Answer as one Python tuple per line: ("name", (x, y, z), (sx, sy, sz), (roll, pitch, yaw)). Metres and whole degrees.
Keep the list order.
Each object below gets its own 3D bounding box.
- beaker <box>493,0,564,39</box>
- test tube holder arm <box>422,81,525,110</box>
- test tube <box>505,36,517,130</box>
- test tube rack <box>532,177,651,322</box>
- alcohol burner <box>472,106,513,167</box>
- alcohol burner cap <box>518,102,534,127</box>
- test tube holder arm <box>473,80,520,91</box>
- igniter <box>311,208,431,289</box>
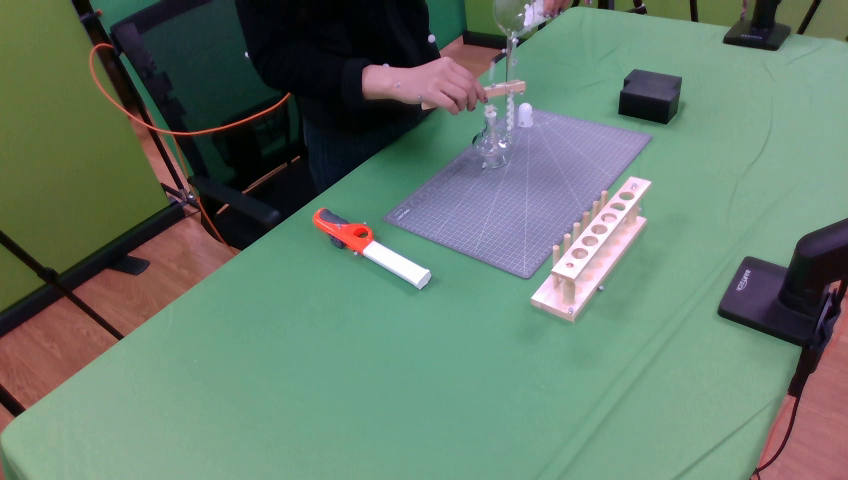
("beaker", (0.166, -0.367, 0.945), (0.073, 0.084, 0.100), (31, 48, 27))
("test tube holder arm", (0.080, -0.229, 0.952), (0.179, 0.015, 0.013), (-16, 25, -20))
("test tube", (0.140, -0.251, 0.977), (0.017, 0.150, 0.017), (-2, 27, 2))
("test tube rack", (0.247, 0.003, 0.883), (0.066, 0.085, 0.243), (22, 49, 32))
("alcohol burner", (0.125, -0.194, 1.111), (0.078, 0.119, 0.077), (-5, 42, 5))
("alcohol burner cap", (0.205, -0.255, 1.223), (0.034, 0.048, 0.033), (-6, 40, 6))
("test tube holder arm", (0.118, -0.243, 0.973), (0.088, 0.015, 0.010), (-19, 27, -26))
("igniter", (-0.096, 0.008, 0.986), (0.274, 0.025, 0.057), (28, 63, 36))
